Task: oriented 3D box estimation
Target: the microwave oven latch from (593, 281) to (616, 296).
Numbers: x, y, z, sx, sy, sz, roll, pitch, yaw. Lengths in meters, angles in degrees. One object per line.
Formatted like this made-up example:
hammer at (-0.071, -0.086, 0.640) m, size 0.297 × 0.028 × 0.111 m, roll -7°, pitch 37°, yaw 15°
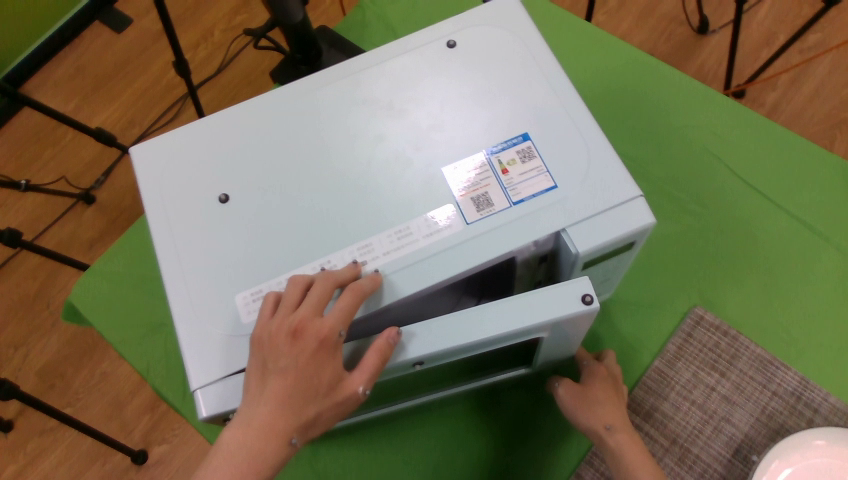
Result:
microwave oven latch at (0.193, 0.060, 0.741) m, size 0.079 × 0.030 × 0.030 m, roll -22°, pitch 68°, yaw -2°

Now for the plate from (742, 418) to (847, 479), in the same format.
plate at (0.438, 0.295, 0.637) m, size 0.207 × 0.039 × 0.206 m, roll -2°, pitch 68°, yaw 5°

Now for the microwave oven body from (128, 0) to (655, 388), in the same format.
microwave oven body at (-0.038, -0.028, 0.696) m, size 0.442 × 0.262 × 0.323 m, roll -24°, pitch 68°, yaw -3°

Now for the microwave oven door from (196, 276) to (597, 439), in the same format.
microwave oven door at (-0.012, 0.131, 0.624) m, size 0.356 × 0.246 × 0.039 m, roll -16°, pitch 66°, yaw 0°
